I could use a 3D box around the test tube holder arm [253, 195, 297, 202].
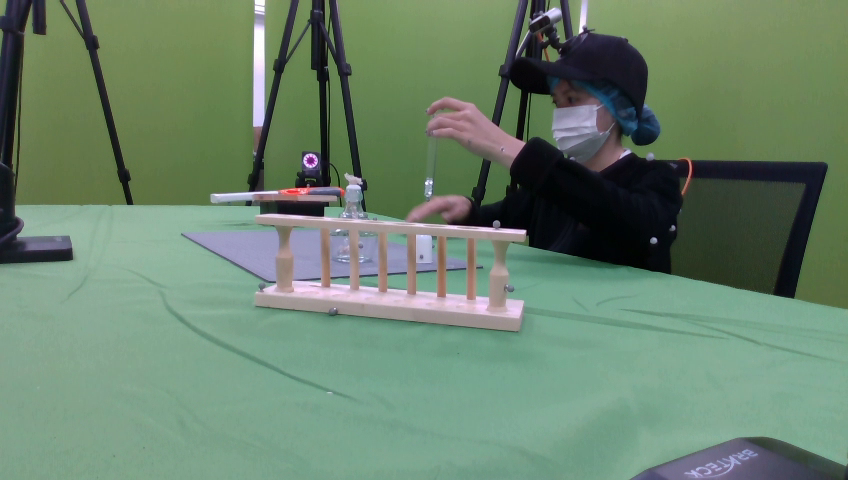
[{"bbox_3d":[-0.294,-0.082,1.194,0.088,0.015,0.010,-4,6,-38],"label":"test tube holder arm"}]

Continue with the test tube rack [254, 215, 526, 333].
[{"bbox_3d":[-0.030,0.025,0.557,0.242,0.085,0.067,4,7,12],"label":"test tube rack"}]

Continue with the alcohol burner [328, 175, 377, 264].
[{"bbox_3d":[-0.098,-0.028,0.819,0.078,0.119,0.078,1,8,0],"label":"alcohol burner"}]

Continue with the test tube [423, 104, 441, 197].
[{"bbox_3d":[0.013,-0.143,0.972,0.017,0.150,0.017,5,12,-1],"label":"test tube"}]

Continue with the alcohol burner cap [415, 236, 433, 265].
[{"bbox_3d":[-0.004,0.011,0.835,0.034,0.048,0.034,2,7,0],"label":"alcohol burner cap"}]

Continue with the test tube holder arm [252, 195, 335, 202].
[{"bbox_3d":[-0.262,-0.085,1.227,0.179,0.015,0.013,-4,6,-39],"label":"test tube holder arm"}]

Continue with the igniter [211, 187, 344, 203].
[{"bbox_3d":[-0.299,-0.094,1.266,0.278,0.025,0.057,-6,12,-33],"label":"igniter"}]
